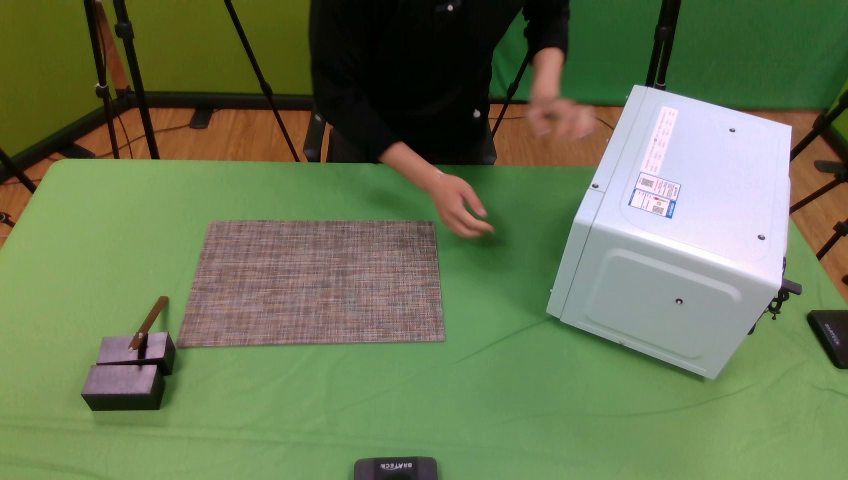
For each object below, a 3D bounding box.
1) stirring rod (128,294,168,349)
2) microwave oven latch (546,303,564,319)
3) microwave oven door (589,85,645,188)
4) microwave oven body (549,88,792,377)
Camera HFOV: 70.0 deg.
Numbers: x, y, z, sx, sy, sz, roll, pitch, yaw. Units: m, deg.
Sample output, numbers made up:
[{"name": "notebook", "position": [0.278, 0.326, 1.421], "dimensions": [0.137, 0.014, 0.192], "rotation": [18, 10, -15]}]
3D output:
[{"name": "stirring rod", "position": [-0.451, 0.131, 0.996], "dimensions": [0.014, 0.006, 0.175], "rotation": [9, 21, -10]}, {"name": "microwave oven latch", "position": [0.242, 0.102, 1.081], "dimensions": [0.030, 0.029, 0.079], "rotation": [22, 48, 17]}, {"name": "microwave oven door", "position": [0.342, -0.107, 1.149], "dimensions": [0.039, 0.245, 0.354], "rotation": [21, 48, 15]}, {"name": "microwave oven body", "position": [0.456, -0.028, 1.088], "dimensions": [0.325, 0.261, 0.440], "rotation": [20, 47, 16]}]
